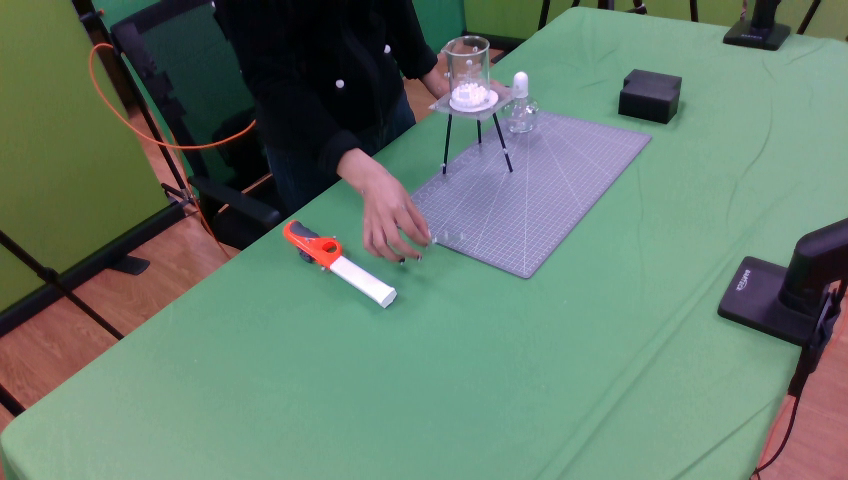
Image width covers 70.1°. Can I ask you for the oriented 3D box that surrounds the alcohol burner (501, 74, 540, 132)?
[{"bbox_3d":[0.191,-0.275,1.194,0.078,0.119,0.077,-4,42,4],"label":"alcohol burner"}]

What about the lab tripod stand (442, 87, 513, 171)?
[{"bbox_3d":[0.097,-0.200,1.108,0.148,0.132,0.147,-4,40,4],"label":"lab tripod stand"}]

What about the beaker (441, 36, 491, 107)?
[{"bbox_3d":[0.074,-0.287,1.036,0.084,0.101,0.073,-1,41,8],"label":"beaker"}]

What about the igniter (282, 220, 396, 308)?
[{"bbox_3d":[-0.146,0.032,0.966,0.274,0.025,0.057,30,64,37],"label":"igniter"}]

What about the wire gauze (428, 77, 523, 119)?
[{"bbox_3d":[0.090,-0.249,1.063,0.120,0.011,0.125,24,48,30],"label":"wire gauze"}]

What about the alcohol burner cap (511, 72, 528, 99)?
[{"bbox_3d":[0.185,-0.302,1.171,0.034,0.048,0.033,-2,42,2],"label":"alcohol burner cap"}]

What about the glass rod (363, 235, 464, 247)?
[{"bbox_3d":[-0.021,0.001,0.940,0.198,0.008,0.008,-5,36,37],"label":"glass rod"}]
